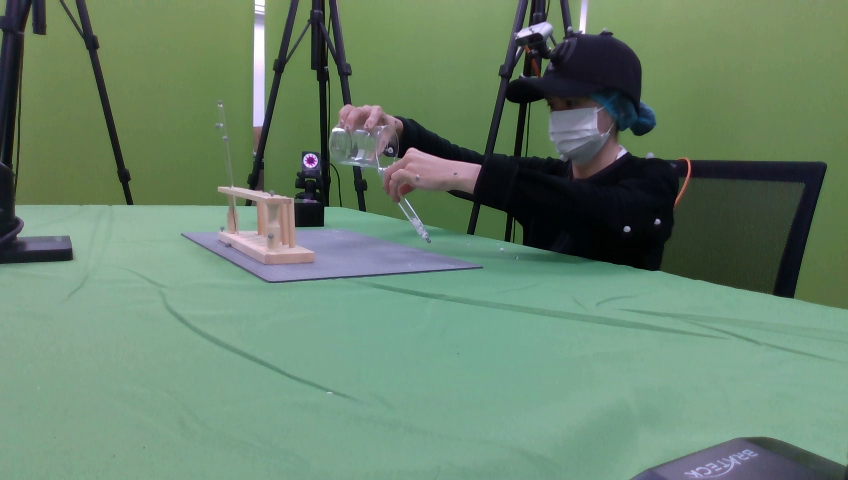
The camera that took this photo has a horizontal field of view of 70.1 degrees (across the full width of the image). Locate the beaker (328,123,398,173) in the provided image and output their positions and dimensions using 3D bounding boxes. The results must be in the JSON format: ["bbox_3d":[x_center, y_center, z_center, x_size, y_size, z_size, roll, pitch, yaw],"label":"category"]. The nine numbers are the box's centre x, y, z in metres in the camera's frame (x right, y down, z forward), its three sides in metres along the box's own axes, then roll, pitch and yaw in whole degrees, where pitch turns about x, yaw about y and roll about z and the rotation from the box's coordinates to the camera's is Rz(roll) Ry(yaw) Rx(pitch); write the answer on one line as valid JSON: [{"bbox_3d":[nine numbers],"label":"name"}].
[{"bbox_3d":[-0.105,-0.158,1.023,0.100,0.084,0.074,9,-5,25],"label":"beaker"}]

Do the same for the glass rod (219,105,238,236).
[{"bbox_3d":[-0.294,-0.100,0.908,0.008,0.199,0.008,-3,12,1],"label":"glass rod"}]

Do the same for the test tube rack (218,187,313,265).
[{"bbox_3d":[-0.235,-0.027,0.872,0.067,0.085,0.241,-2,8,-32],"label":"test tube rack"}]

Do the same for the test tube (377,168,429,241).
[{"bbox_3d":[-0.034,-0.058,0.973,0.017,0.017,0.149,-6,55,-48],"label":"test tube"}]
